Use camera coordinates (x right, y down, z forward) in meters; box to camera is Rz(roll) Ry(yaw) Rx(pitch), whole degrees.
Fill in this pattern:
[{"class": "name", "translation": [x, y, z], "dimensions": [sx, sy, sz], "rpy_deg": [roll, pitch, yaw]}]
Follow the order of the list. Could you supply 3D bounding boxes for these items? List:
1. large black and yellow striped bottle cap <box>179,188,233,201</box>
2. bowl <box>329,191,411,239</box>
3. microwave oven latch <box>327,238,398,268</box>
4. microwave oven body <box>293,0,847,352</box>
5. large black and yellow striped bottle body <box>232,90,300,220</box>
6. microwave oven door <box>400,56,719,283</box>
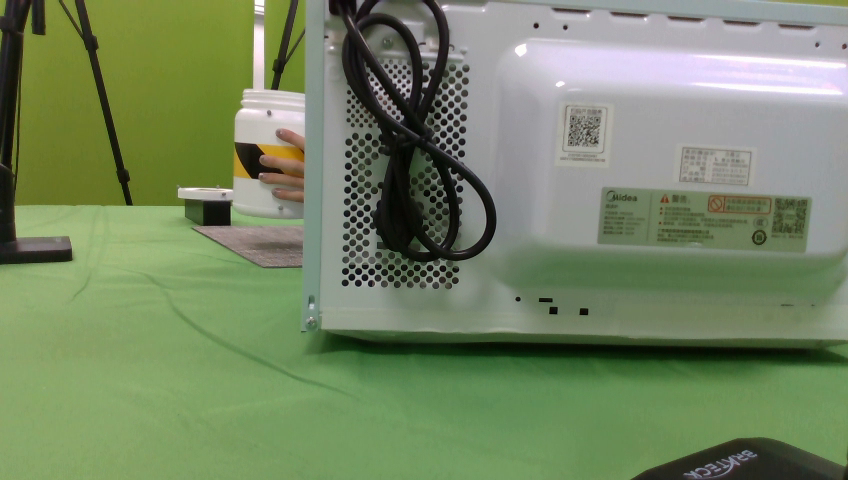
[{"class": "large black and yellow striped bottle cap", "translation": [-0.434, -0.093, 1.226], "dimensions": [0.115, 0.019, 0.115], "rpy_deg": [3, 9, 0]}, {"class": "bowl", "translation": [-0.100, -0.045, 1.104], "dimensions": [0.151, 0.077, 0.151], "rpy_deg": [3, 8, 0]}, {"class": "microwave oven latch", "translation": [-0.069, 0.015, 0.694], "dimensions": [0.079, 0.029, 0.030], "rpy_deg": [3, 7, -3]}, {"class": "microwave oven body", "translation": [0.122, -0.055, 0.550], "dimensions": [0.442, 0.260, 0.325], "rpy_deg": [3, 7, -5]}, {"class": "large black and yellow striped bottle body", "translation": [-0.223, -0.129, 0.922], "dimensions": [0.131, 0.184, 0.130], "rpy_deg": [4, 9, 0]}, {"class": "microwave oven door", "translation": [0.155, -0.077, 0.698], "dimensions": [0.356, 0.243, 0.039], "rpy_deg": [2, 8, -5]}]
